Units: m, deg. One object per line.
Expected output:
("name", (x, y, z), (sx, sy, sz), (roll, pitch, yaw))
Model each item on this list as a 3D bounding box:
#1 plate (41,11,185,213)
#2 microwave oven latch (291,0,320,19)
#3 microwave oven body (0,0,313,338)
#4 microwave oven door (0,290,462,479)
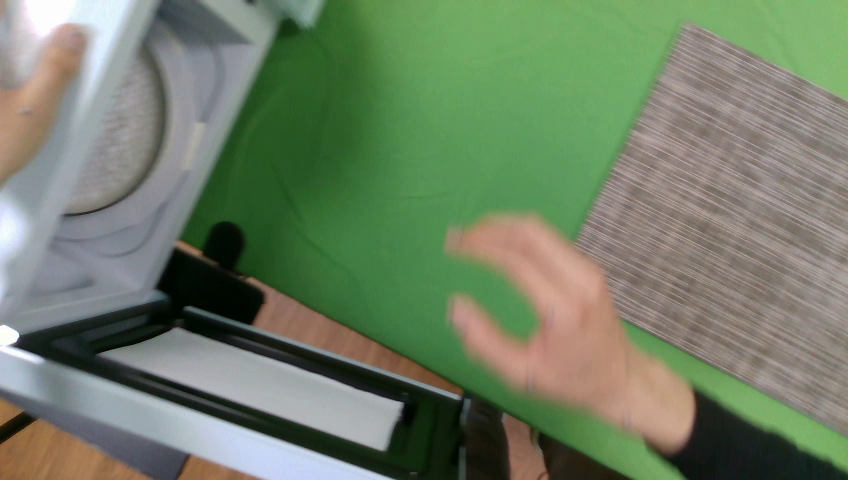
("plate", (-0.330, -0.131, 0.587), (0.209, 0.038, 0.209), (0, 94, 2))
("microwave oven latch", (-0.110, -0.267, 0.610), (0.030, 0.029, 0.079), (31, 95, 1))
("microwave oven body", (-0.329, -0.176, 0.529), (0.326, 0.260, 0.442), (28, 95, 1))
("microwave oven door", (-0.139, 0.130, 0.531), (0.356, 0.243, 0.039), (18, 93, 2))
